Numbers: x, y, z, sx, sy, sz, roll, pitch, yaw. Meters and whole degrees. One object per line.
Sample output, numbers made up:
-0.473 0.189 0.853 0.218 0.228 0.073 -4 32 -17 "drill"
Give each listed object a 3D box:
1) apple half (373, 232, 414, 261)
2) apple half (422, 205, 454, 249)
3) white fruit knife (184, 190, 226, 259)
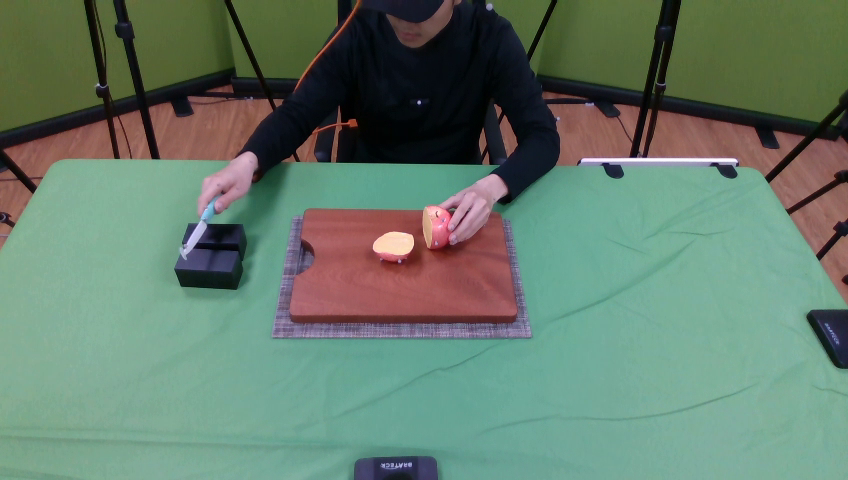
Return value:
-0.053 0.017 1.128 0.081 0.033 0.081 -2 32 2 "apple half"
0.030 -0.024 1.145 0.053 0.075 0.080 -4 43 -14 "apple half"
-0.392 -0.032 1.087 0.016 0.027 0.206 -1 36 3 "white fruit knife"
